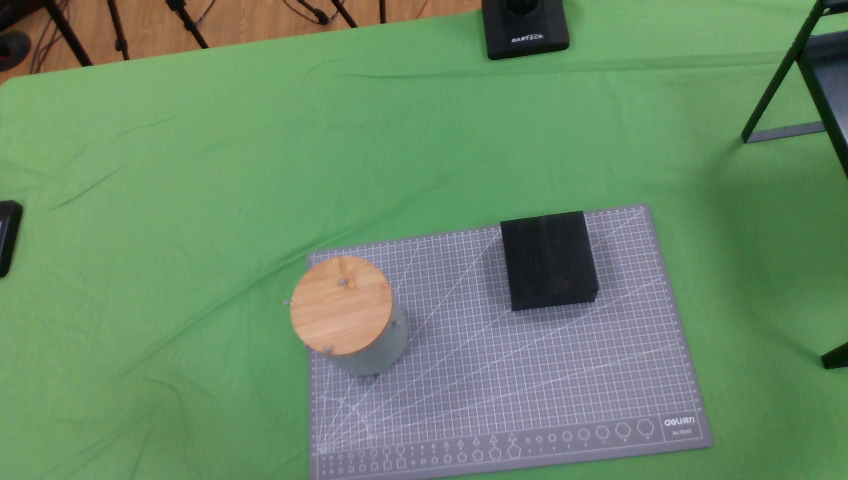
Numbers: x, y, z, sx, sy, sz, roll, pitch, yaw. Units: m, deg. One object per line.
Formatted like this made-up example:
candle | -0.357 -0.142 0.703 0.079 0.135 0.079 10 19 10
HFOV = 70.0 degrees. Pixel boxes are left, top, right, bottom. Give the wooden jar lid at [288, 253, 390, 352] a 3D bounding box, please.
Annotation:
wooden jar lid | -0.088 0.066 0.639 0.108 0.021 0.107 -2 69 6

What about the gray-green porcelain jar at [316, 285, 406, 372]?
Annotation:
gray-green porcelain jar | -0.079 0.092 0.696 0.106 0.127 0.105 -3 67 7
